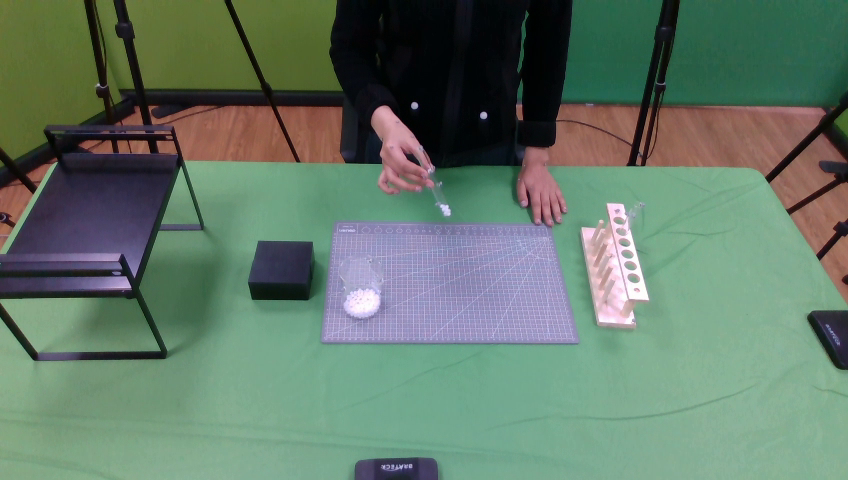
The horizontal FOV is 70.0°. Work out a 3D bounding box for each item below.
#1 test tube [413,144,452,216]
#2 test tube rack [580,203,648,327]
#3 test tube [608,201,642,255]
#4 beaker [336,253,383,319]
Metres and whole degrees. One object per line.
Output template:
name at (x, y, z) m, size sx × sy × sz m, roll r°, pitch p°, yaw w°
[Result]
test tube at (0.016, -0.099, 1.040) m, size 0.017 × 0.151 × 0.017 m, roll -18°, pitch 36°, yaw 13°
test tube rack at (0.352, 0.040, 1.143) m, size 0.067 × 0.085 × 0.241 m, roll 4°, pitch 46°, yaw 0°
test tube at (0.373, -0.019, 1.133) m, size 0.017 × 0.151 × 0.017 m, roll 3°, pitch 52°, yaw -4°
beaker at (-0.108, 0.084, 1.052) m, size 0.084 × 0.101 × 0.074 m, roll 25°, pitch 50°, yaw 17°
